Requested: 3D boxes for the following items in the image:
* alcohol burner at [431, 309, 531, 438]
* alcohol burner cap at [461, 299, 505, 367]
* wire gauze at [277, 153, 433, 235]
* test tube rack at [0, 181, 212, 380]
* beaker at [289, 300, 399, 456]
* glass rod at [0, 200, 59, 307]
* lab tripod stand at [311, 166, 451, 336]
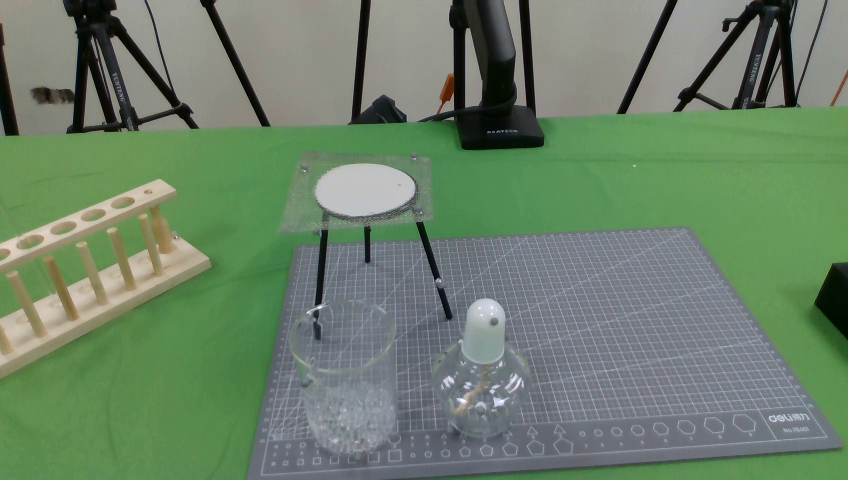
[{"bbox_3d":[0.044,0.093,0.456,0.078,0.120,0.077,0,38,0],"label":"alcohol burner"},{"bbox_3d":[0.044,0.064,0.435,0.034,0.048,0.033,1,38,-1],"label":"alcohol burner cap"},{"bbox_3d":[-0.054,-0.043,0.515,0.121,0.011,0.124,0,36,-1],"label":"wire gauze"},{"bbox_3d":[-0.333,0.036,0.570,0.066,0.086,0.242,28,44,34],"label":"test tube rack"},{"bbox_3d":[-0.058,0.105,0.454,0.083,0.101,0.074,26,44,33],"label":"beaker"},{"bbox_3d":[-0.368,-0.019,0.534,0.008,0.201,0.008,-5,33,4],"label":"glass rod"},{"bbox_3d":[-0.045,0.009,0.557,0.148,0.132,0.147,1,35,0],"label":"lab tripod stand"}]
